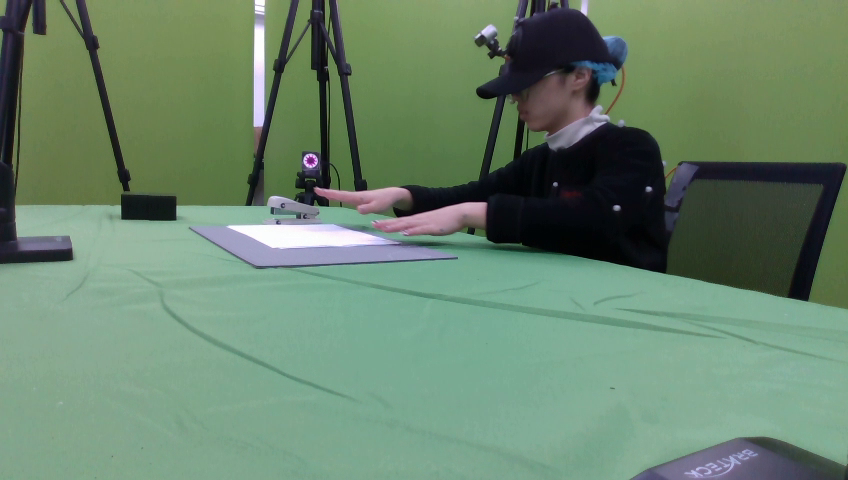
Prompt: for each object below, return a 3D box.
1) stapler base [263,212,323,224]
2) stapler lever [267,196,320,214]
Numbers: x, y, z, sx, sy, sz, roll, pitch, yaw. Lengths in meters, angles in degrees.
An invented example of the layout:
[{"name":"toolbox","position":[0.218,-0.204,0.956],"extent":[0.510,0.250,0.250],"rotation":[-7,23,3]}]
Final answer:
[{"name":"stapler base","position":[-0.277,-0.048,1.279],"extent":[0.041,0.024,0.131],"rotation":[12,10,43]},{"name":"stapler lever","position":[-0.275,-0.073,1.277],"extent":[0.026,0.040,0.119],"rotation":[12,10,43]}]
